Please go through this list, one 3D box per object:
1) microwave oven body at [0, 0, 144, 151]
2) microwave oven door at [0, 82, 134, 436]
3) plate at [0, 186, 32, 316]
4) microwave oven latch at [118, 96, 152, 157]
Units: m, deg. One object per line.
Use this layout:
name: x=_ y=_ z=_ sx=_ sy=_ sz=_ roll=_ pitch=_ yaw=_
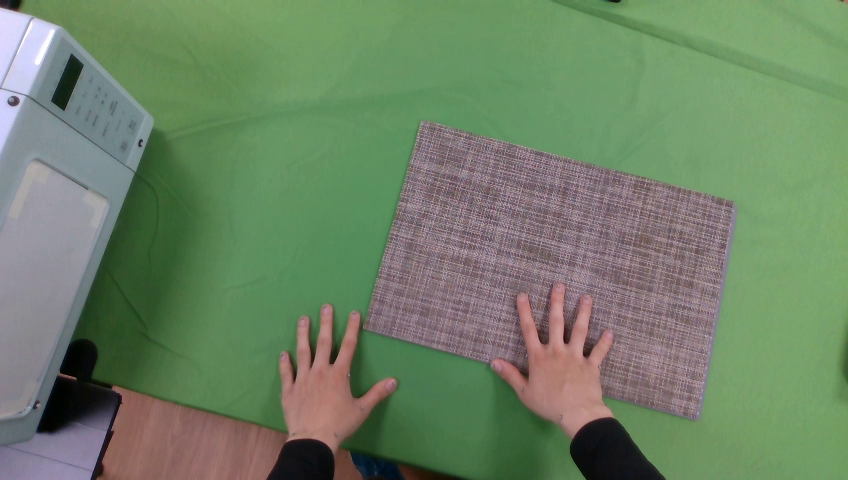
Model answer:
microwave oven body: x=-0.569 y=-0.039 z=0.667 sx=0.326 sy=0.261 sz=0.440 roll=15 pitch=81 yaw=0
microwave oven door: x=-0.440 y=0.039 z=0.655 sx=0.039 sy=0.244 sz=0.354 roll=15 pitch=80 yaw=1
plate: x=-0.567 y=0.018 z=0.717 sx=0.209 sy=0.038 sz=0.208 roll=1 pitch=82 yaw=-3
microwave oven latch: x=-0.382 y=-0.151 z=0.791 sx=0.030 sy=0.029 sz=0.079 roll=18 pitch=81 yaw=1
